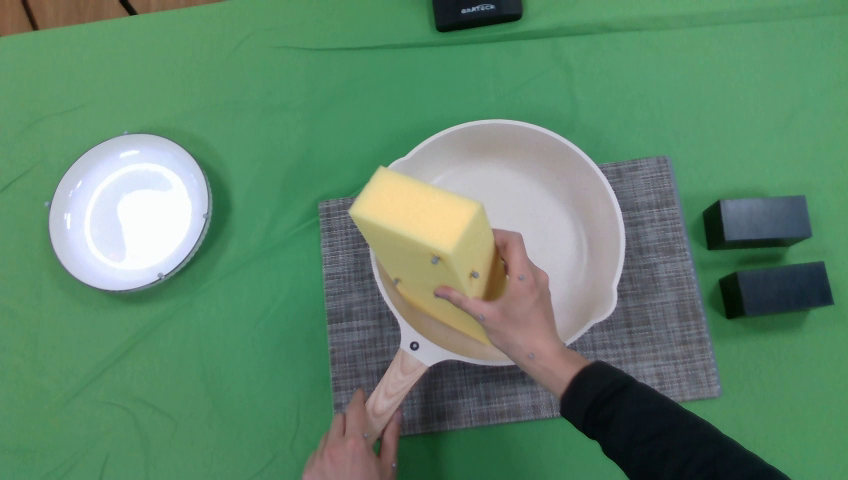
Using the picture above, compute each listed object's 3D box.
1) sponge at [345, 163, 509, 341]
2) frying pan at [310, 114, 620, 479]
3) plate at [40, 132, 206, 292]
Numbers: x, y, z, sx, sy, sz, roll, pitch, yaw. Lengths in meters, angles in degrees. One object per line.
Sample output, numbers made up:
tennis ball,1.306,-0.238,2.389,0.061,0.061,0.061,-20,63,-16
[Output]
sponge,0.013,0.019,0.638,0.117,0.209,0.060,21,67,28
frying pan,0.020,0.077,0.690,0.305,0.103,0.486,33,73,11
plate,-0.377,-0.035,0.773,0.207,0.039,0.206,0,77,2
